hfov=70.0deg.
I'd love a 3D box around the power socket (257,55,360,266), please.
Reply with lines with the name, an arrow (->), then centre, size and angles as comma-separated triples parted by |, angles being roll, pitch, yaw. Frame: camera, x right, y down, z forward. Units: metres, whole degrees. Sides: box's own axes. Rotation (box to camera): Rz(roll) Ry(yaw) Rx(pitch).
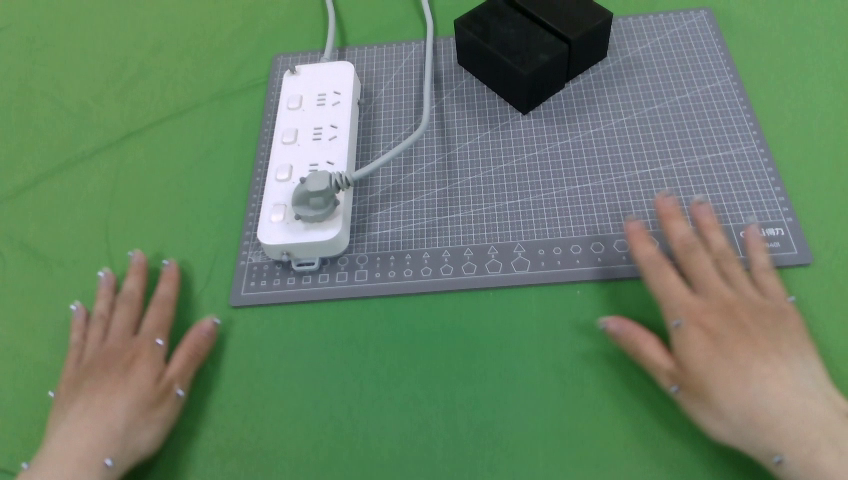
power socket -> -0.099, -0.083, 0.542 | 0.072, 0.033, 0.224 | -3, 58, 5

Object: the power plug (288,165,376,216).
power plug -> -0.073, -0.034, 0.480 | 0.072, 0.053, 0.035 | 6, 59, 11
